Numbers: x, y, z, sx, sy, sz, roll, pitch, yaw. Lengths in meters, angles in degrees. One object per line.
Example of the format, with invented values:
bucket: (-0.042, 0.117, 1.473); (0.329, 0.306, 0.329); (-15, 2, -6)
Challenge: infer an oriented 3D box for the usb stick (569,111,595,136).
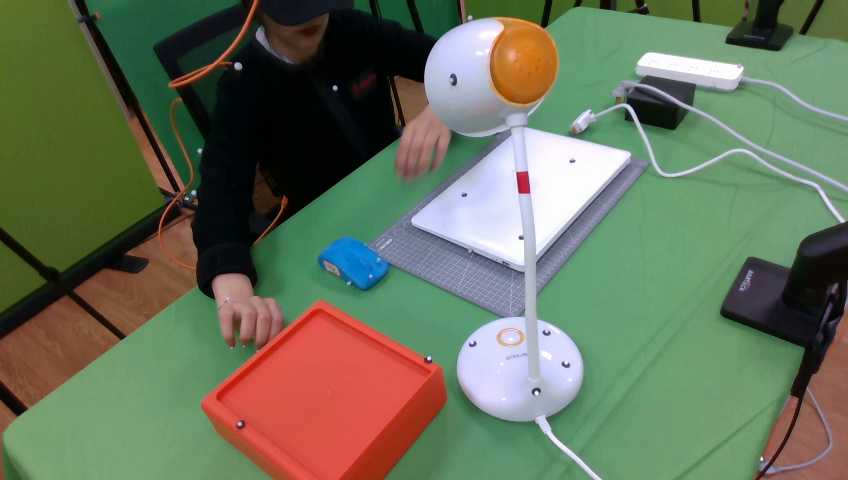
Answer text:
usb stick: (0.309, -0.227, 1.189); (0.059, 0.021, 0.027); (-44, 13, -19)

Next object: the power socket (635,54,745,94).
power socket: (0.563, -0.358, 1.295); (0.225, 0.033, 0.072); (21, 49, 31)

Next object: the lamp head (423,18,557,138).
lamp head: (0.069, -0.151, 0.563); (0.113, 0.113, 0.122); (-21, 18, -13)

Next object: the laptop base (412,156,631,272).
laptop base: (0.176, -0.084, 1.055); (0.233, 0.023, 0.355); (21, 48, 36)

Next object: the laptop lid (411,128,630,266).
laptop lid: (0.172, -0.093, 1.049); (0.239, 0.013, 0.358); (23, 50, 36)

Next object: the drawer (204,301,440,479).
drawer: (-0.119, 0.193, 0.735); (0.210, 0.073, 0.195); (23, 49, 32)

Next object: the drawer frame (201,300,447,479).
drawer frame: (-0.117, 0.193, 0.733); (0.212, 0.083, 0.202); (23, 48, 32)

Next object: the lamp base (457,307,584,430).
lamp base: (0.115, 0.108, 0.713); (0.161, 0.181, 0.178); (-17, 43, -8)

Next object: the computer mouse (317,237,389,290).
computer mouse: (-0.113, 0.033, 0.958); (0.116, 0.041, 0.063); (28, 50, 31)

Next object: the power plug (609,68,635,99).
power plug: (0.406, -0.323, 1.233); (0.035, 0.072, 0.052); (5, 36, -34)
